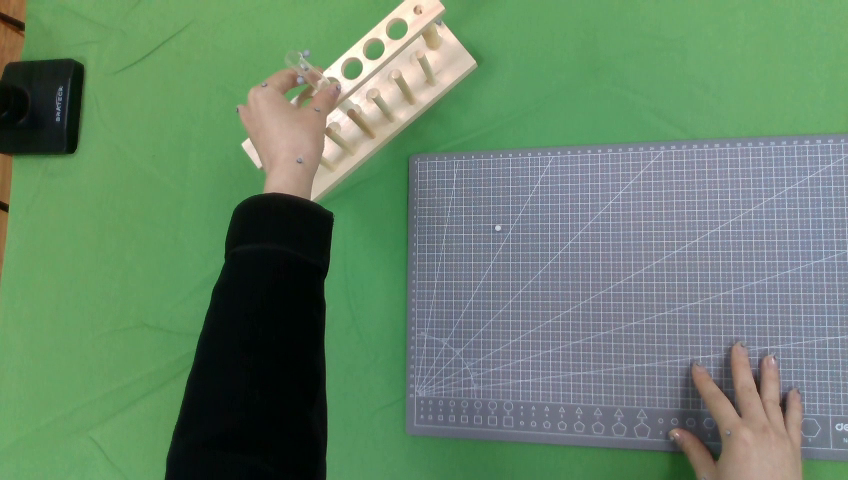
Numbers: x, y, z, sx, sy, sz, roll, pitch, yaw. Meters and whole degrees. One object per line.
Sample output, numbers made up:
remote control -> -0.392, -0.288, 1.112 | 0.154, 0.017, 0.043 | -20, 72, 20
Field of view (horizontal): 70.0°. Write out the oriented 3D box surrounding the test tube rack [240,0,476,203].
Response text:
test tube rack -> -0.066, -0.146, 0.636 | 0.242, 0.085, 0.066 | -39, 78, 7

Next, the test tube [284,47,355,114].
test tube -> -0.098, -0.151, 0.591 | 0.017, 0.151, 0.017 | -1, 84, 12
